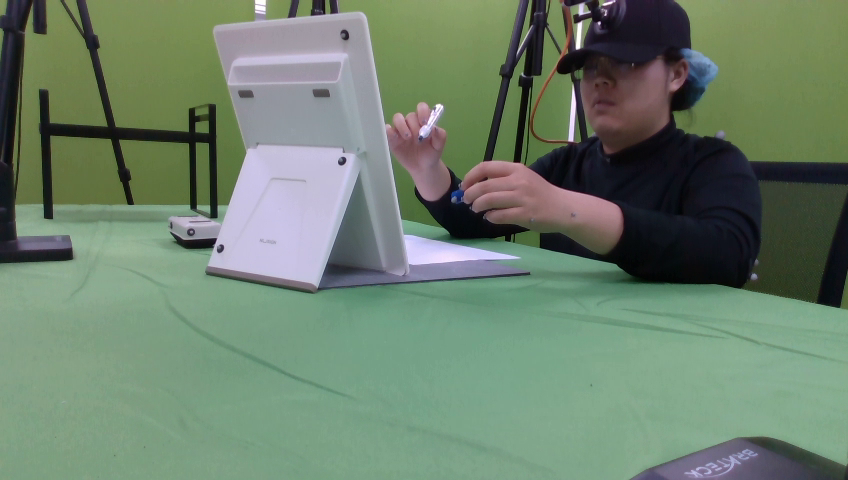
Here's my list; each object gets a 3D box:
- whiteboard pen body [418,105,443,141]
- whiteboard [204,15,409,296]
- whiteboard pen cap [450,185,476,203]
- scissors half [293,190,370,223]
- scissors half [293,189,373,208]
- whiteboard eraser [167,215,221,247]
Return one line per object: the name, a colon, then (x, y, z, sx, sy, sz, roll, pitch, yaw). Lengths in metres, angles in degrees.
whiteboard pen body: (0.009, -0.176, 0.914, 0.017, 0.017, 0.141, 4, 31, 12)
whiteboard: (-0.166, -0.072, 0.669, 0.216, 0.305, 0.144, 8, 30, 30)
whiteboard pen cap: (0.048, -0.058, 0.761, 0.033, 0.018, 0.018, -18, -6, 36)
scissors half: (-0.205, -0.077, 1.338, 0.175, 0.040, 0.013, 22, 11, -8)
scissors half: (-0.201, -0.096, 1.333, 0.175, 0.040, 0.013, 5, 18, -4)
whiteboard eraser: (-0.350, -0.014, 0.920, 0.056, 0.042, 0.112, 0, 7, -35)
